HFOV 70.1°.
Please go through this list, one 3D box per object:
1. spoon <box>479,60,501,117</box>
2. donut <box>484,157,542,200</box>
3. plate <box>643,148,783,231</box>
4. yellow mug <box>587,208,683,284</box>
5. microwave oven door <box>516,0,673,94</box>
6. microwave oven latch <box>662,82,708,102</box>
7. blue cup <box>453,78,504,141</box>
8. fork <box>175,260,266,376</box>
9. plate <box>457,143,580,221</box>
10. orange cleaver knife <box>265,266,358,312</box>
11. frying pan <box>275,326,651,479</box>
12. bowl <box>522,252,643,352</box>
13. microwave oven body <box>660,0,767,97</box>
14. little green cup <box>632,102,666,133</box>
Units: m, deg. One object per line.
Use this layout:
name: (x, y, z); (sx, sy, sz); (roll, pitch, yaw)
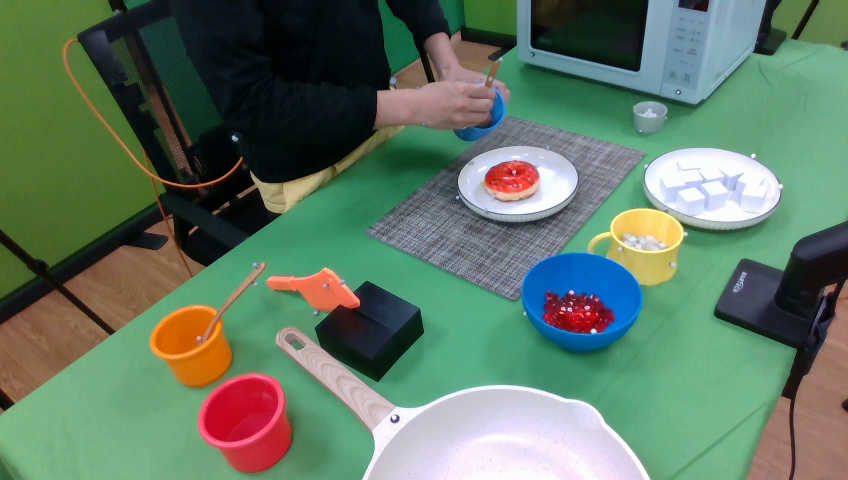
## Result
spoon: (0.100, -0.228, 0.973); (0.042, 0.194, 0.021); (-27, 70, -11)
donut: (0.153, -0.107, 1.039); (0.099, 0.048, 0.098); (-6, 37, 5)
plate: (0.464, -0.080, 0.985); (0.207, 0.039, 0.206); (-4, 41, 4)
yellow mug: (0.305, 0.009, 0.884); (0.131, 0.064, 0.099); (-4, 41, 5)
microwave oven door: (0.344, -0.458, 1.256); (0.353, 0.245, 0.039); (26, 52, 33)
microwave oven latch: (0.518, -0.299, 1.203); (0.078, 0.029, 0.030); (29, 53, 36)
blue cup: (0.089, -0.220, 1.060); (0.093, 0.100, 0.092); (1, 79, -4)
fork: (-0.268, 0.103, 0.792); (0.207, 0.019, 0.028); (-51, 41, 16)
plate: (0.162, -0.097, 1.042); (0.209, 0.038, 0.208); (-4, 40, 4)
orange cleaver knife: (-0.164, 0.073, 0.864); (0.210, 0.077, 0.012); (-6, 30, 50)
frying pan: (0.003, 0.229, 0.641); (0.484, 0.103, 0.308); (34, 54, 28)
bowl: (0.204, 0.093, 0.791); (0.151, 0.077, 0.150); (-4, 40, 4)
microwave oven body: (0.473, -0.516, 1.313); (0.438, 0.261, 0.327); (26, 51, 34)
little green cup: (0.434, -0.237, 1.171); (0.061, 0.039, 0.061); (-5, 40, 5)
